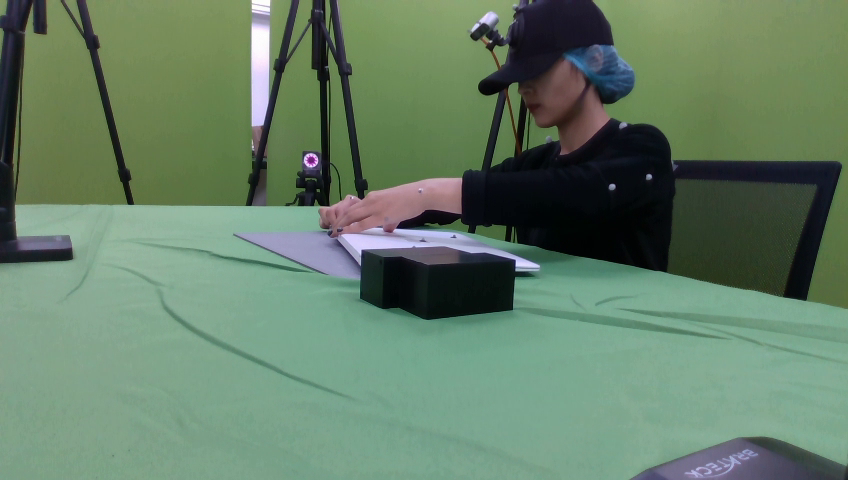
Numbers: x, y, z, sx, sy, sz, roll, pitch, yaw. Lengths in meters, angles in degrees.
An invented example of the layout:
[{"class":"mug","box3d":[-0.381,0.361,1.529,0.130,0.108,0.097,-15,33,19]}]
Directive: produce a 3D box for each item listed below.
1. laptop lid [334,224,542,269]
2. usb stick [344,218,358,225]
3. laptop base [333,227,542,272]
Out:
[{"class":"laptop lid","box3d":[-0.001,0.004,0.902,0.242,0.013,0.355,4,6,-14]},{"class":"usb stick","box3d":[-0.128,-0.024,1.065,0.021,0.027,0.059,-1,11,-11]},{"class":"laptop base","box3d":[-0.004,0.015,0.903,0.236,0.023,0.353,5,6,-15]}]
